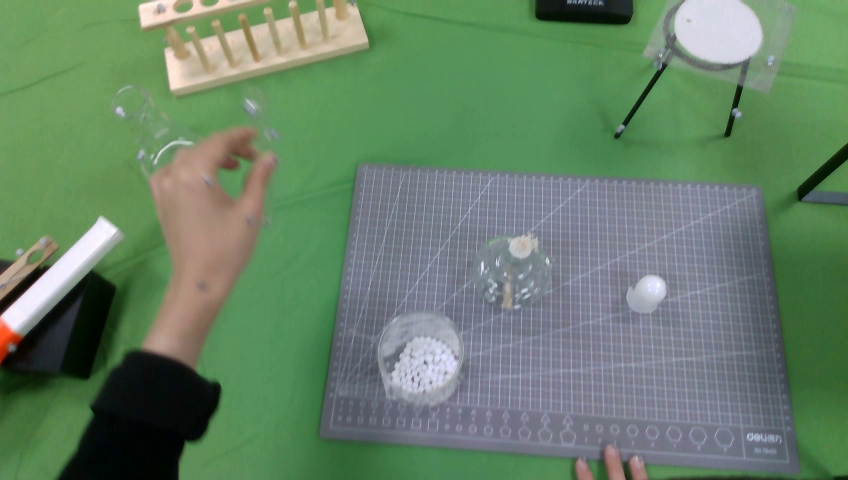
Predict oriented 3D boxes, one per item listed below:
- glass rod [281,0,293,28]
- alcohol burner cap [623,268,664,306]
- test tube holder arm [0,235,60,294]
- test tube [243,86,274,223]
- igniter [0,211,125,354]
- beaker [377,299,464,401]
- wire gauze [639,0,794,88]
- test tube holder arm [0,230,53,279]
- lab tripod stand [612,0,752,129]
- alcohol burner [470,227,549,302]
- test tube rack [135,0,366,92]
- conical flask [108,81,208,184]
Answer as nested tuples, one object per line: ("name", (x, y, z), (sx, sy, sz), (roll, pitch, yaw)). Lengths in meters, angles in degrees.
("glass rod", (-0.173, -0.312, 0.666), (0.008, 0.201, 0.008), (-3, 61, 6))
("alcohol burner cap", (0.222, 0.044, 0.608), (0.034, 0.048, 0.033), (0, 68, 1))
("test tube holder arm", (-0.393, 0.029, 0.588), (0.010, 0.015, 0.087), (46, 74, -13))
("test tube", (-0.132, -0.062, 0.489), (0.017, 0.151, 0.017), (5, 54, -7))
("igniter", (-0.395, 0.082, 0.565), (0.057, 0.025, 0.276), (31, 71, 23))
("beaker", (-0.004, 0.108, 0.556), (0.073, 0.101, 0.084), (33, 73, 14))
("wire gauze", (0.288, -0.212, 0.590), (0.121, 0.011, 0.124), (24, 71, 9))
("test tube holder arm", (-0.426, 0.057, 0.574), (0.013, 0.015, 0.178), (46, 74, -13))
("lab tripod stand", (0.282, -0.185, 0.652), (0.148, 0.132, 0.147), (0, 67, 0))
("alcohol burner", (0.085, 0.018, 0.583), (0.078, 0.120, 0.077), (0, 67, 0))
("test tube rack", (-0.198, -0.256, 0.716), (0.242, 0.086, 0.066), (-16, 69, -5))
("conical flask", (-0.286, -0.117, 0.642), (0.075, 0.123, 0.075), (0, 67, 1))
